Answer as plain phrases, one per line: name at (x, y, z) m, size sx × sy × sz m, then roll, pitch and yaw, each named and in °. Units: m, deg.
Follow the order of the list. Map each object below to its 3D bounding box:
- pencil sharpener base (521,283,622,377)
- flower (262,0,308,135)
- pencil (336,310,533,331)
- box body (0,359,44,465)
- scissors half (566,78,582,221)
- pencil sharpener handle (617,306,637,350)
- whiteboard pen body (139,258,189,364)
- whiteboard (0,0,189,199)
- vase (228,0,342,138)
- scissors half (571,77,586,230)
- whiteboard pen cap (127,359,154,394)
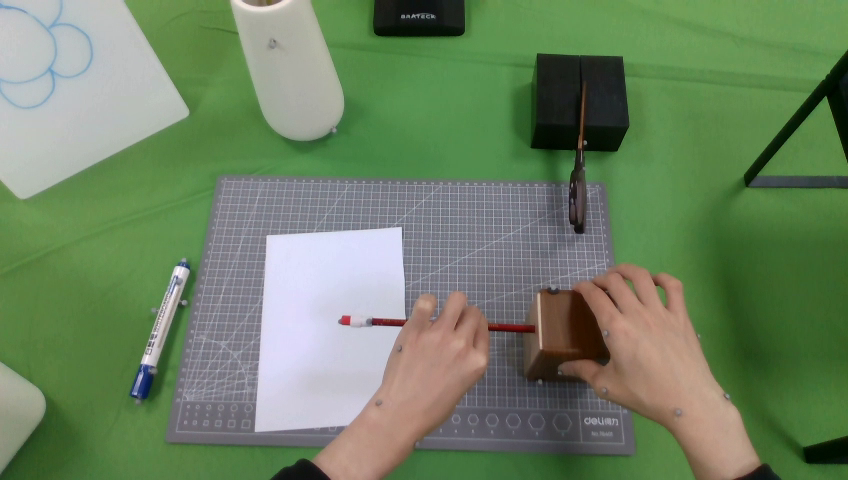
pencil sharpener base at (0.135, 0.088, 0.569) m, size 0.077 × 0.108 × 0.061 m, roll 2°, pitch 65°, yaw 2°
flower at (-0.158, -0.248, 0.587) m, size 0.044 × 0.365 × 0.038 m, roll -5°, pitch 48°, yaw 2°
pencil at (0.018, 0.074, 0.546) m, size 0.194 × 0.012 × 0.012 m, roll 3°, pitch 65°, yaw 1°
box body at (-0.570, 0.143, 0.523) m, size 0.362 × 0.161 × 0.253 m, roll 26°, pitch 68°, yaw 12°
scissors half at (0.165, -0.103, 0.654) m, size 0.013 × 0.040 × 0.174 m, roll 1°, pitch 66°, yaw 21°
pencil sharpener handle at (0.186, 0.085, 0.556) m, size 0.030 × 0.068 × 0.035 m, roll 2°, pitch 60°, yaw 2°
whiteboard pen body at (-0.272, 0.083, 0.626) m, size 0.017 × 0.017 × 0.139 m, roll 7°, pitch 64°, yaw 5°
whiteboard at (-0.442, -0.240, 0.652) m, size 0.217 × 0.309 × 0.142 m, roll -31°, pitch 49°, yaw -12°
vase at (-0.149, -0.200, 0.656) m, size 0.098 × 0.201 × 0.097 m, roll -1°, pitch 64°, yaw 2°
scissors half at (0.174, -0.097, 0.672) m, size 0.012 × 0.040 × 0.175 m, roll 0°, pitch 84°, yaw 26°
whiteboard pen cap at (-0.279, 0.135, 0.601) m, size 0.018 × 0.018 × 0.033 m, roll 7°, pitch 61°, yaw 4°
